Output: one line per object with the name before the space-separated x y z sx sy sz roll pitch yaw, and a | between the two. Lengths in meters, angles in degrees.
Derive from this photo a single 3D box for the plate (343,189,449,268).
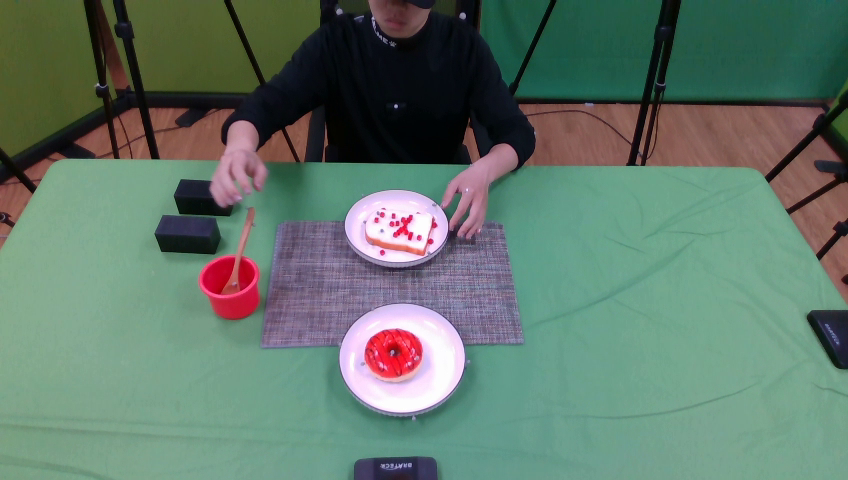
plate | -0.055 -0.019 1.195 0.209 0.038 0.208 3 46 -2

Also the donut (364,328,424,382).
donut | -0.049 0.185 0.984 0.099 0.048 0.098 1 45 -1

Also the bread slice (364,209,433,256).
bread slice | -0.053 -0.019 1.199 0.131 0.019 0.104 11 46 3

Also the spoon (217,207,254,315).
spoon | -0.322 0.036 1.053 0.041 0.022 0.193 13 90 12

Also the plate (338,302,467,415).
plate | -0.035 0.194 0.992 0.208 0.039 0.206 2 48 -2
